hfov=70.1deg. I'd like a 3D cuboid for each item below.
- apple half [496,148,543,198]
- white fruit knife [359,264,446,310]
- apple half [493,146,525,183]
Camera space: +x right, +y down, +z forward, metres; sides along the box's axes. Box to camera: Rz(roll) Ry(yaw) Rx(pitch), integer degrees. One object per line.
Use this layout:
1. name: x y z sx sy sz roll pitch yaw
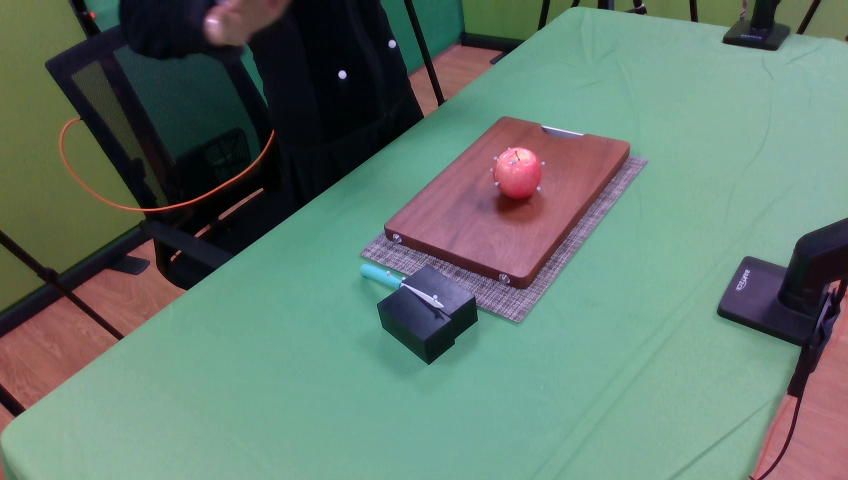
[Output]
1. apple half: 0.164 -0.104 0.991 0.081 0.075 0.053 -31 48 -28
2. white fruit knife: -0.034 0.066 0.870 0.016 0.027 0.205 -37 33 -27
3. apple half: 0.139 -0.122 1.015 0.081 0.081 0.032 -34 50 -25
